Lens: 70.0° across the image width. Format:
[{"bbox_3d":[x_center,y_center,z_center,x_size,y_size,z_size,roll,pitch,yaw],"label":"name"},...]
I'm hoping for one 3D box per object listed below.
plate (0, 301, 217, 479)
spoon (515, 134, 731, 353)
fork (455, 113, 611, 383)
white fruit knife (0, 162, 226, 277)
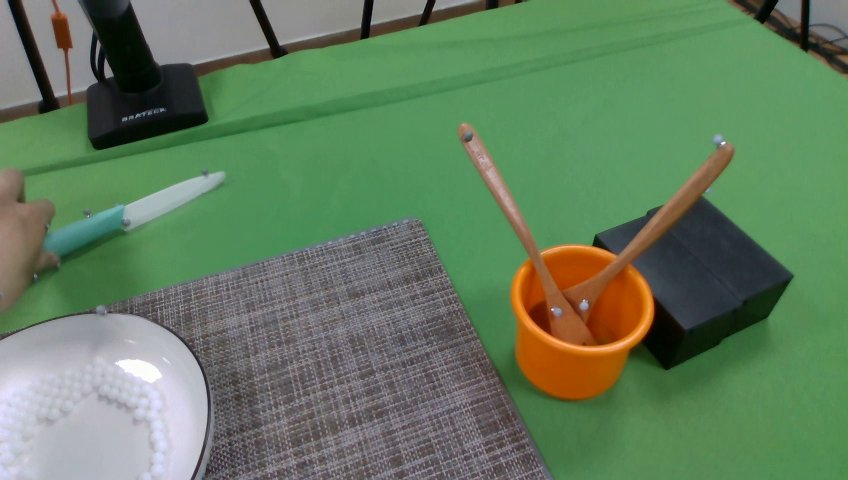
[{"bbox_3d":[-0.234,0.132,0.386,0.209,0.038,0.207,-1,48,1],"label":"plate"},{"bbox_3d":[0.133,0.006,0.409,0.041,0.194,0.021,41,22,1],"label":"spoon"},{"bbox_3d":[0.074,0.006,0.416,0.028,0.018,0.208,-29,97,-8],"label":"fork"},{"bbox_3d":[-0.273,-0.027,0.543,0.207,0.027,0.016,-30,33,-27],"label":"white fruit knife"}]
